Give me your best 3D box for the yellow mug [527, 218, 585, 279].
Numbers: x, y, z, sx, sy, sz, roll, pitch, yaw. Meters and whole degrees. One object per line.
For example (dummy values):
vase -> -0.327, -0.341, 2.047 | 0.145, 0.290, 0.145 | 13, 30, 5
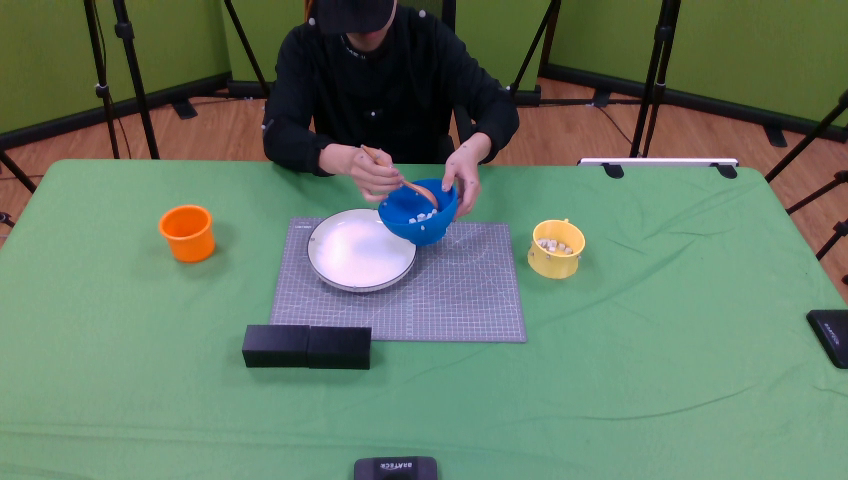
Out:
yellow mug -> 0.261, 0.006, 1.181 | 0.100, 0.064, 0.130 | 18, 47, 14

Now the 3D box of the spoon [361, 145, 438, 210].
spoon -> -0.041, -0.110, 1.082 | 0.195, 0.021, 0.041 | 32, 19, -32

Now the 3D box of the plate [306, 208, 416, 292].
plate -> -0.119, 0.021, 1.153 | 0.209, 0.038, 0.208 | 2, 46, -2

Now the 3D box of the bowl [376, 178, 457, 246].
bowl -> -0.006, -0.042, 1.120 | 0.151, 0.077, 0.150 | -11, 35, 8
